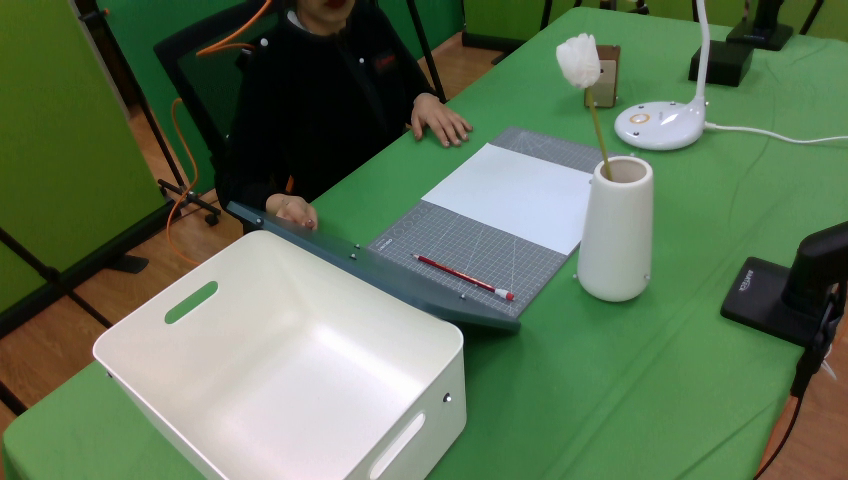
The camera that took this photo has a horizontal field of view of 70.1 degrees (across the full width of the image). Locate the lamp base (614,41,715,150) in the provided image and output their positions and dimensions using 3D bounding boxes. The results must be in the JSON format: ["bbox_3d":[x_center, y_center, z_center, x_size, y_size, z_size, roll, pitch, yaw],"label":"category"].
[{"bbox_3d":[0.449,-0.277,1.106,0.179,0.181,0.160,1,41,9],"label":"lamp base"}]

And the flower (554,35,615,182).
[{"bbox_3d":[0.237,-0.083,0.774,0.044,0.363,0.038,-22,26,7],"label":"flower"}]

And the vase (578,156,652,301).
[{"bbox_3d":[0.261,-0.011,0.812,0.098,0.201,0.097,-4,40,4],"label":"vase"}]

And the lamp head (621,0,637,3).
[{"bbox_3d":[0.319,-0.453,0.962,0.113,0.123,0.112,20,33,-13],"label":"lamp head"}]

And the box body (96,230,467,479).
[{"bbox_3d":[-0.155,0.169,0.707,0.361,0.161,0.255,23,49,33],"label":"box body"}]

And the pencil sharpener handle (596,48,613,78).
[{"bbox_3d":[0.383,-0.378,1.276,0.036,0.068,0.030,3,41,22],"label":"pencil sharpener handle"}]

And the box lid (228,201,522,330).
[{"bbox_3d":[-0.067,0.035,0.817,0.368,0.265,0.015,23,91,33],"label":"box lid"}]

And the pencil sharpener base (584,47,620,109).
[{"bbox_3d":[0.367,-0.336,1.248,0.061,0.107,0.076,6,42,19],"label":"pencil sharpener base"}]

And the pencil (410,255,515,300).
[{"bbox_3d":[0.054,0.054,0.918,0.192,0.012,0.012,21,48,33],"label":"pencil"}]
